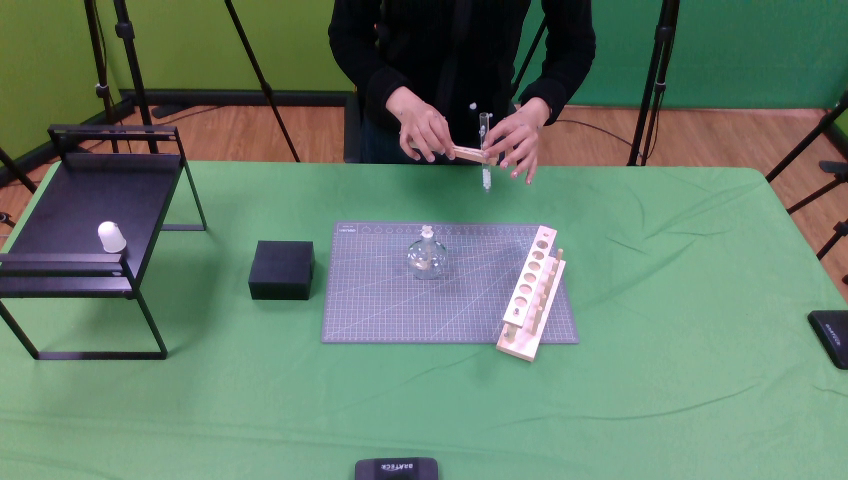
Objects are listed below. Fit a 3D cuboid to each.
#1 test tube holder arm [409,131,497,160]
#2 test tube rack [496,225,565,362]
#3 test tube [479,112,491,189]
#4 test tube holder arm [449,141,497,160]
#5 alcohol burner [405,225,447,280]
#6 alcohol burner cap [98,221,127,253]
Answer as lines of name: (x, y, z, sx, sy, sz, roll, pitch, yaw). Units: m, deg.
test tube holder arm: (0.050, -0.170, 1.088, 0.177, 0.015, 0.013, 19, 10, 28)
test tube rack: (0.200, 0.089, 1.081, 0.066, 0.085, 0.241, 19, 48, 13)
test tube: (0.106, -0.152, 1.051, 0.017, 0.151, 0.017, -5, 40, 4)
test tube holder arm: (0.086, -0.157, 1.063, 0.087, 0.015, 0.010, 18, 9, 21)
alcohol burner: (0.005, 0.017, 1.115, 0.078, 0.120, 0.077, 1, 47, -1)
alcohol burner cap: (-0.468, -0.007, 0.904, 0.034, 0.048, 0.033, 3, 45, -2)
